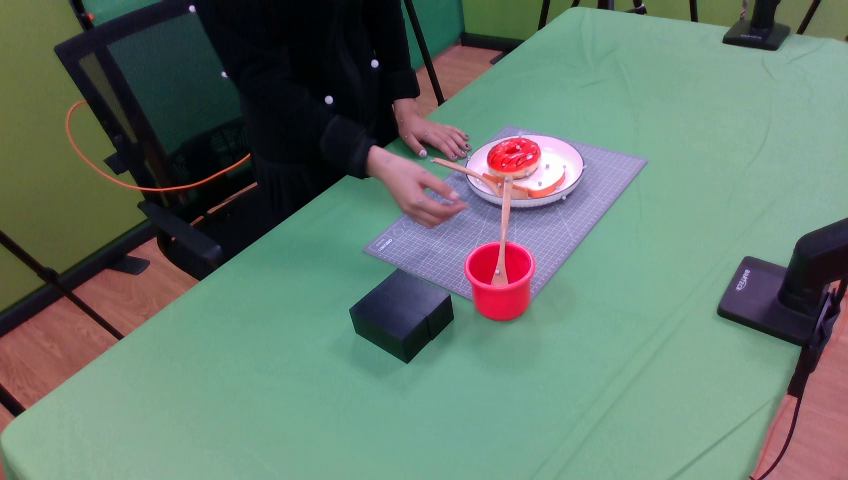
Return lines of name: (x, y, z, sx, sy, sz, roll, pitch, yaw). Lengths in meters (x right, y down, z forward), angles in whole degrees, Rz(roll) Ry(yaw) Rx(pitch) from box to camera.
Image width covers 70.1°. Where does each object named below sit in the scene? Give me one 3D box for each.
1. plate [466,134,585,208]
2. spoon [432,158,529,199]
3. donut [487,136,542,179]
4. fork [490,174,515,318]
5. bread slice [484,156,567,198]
plate: (0.178, -0.120, 1.075, 0.209, 0.038, 0.208, -5, 40, 5)
spoon: (0.095, -0.108, 1.055, 0.192, 0.022, 0.042, 30, 49, 21)
donut: (0.159, -0.147, 1.068, 0.099, 0.048, 0.098, -9, 39, 8)
fork: (0.113, 0.006, 0.853, 0.028, 0.019, 0.207, 4, 84, 16)
bread slice: (0.187, -0.120, 1.077, 0.130, 0.019, 0.105, 27, 53, 37)
